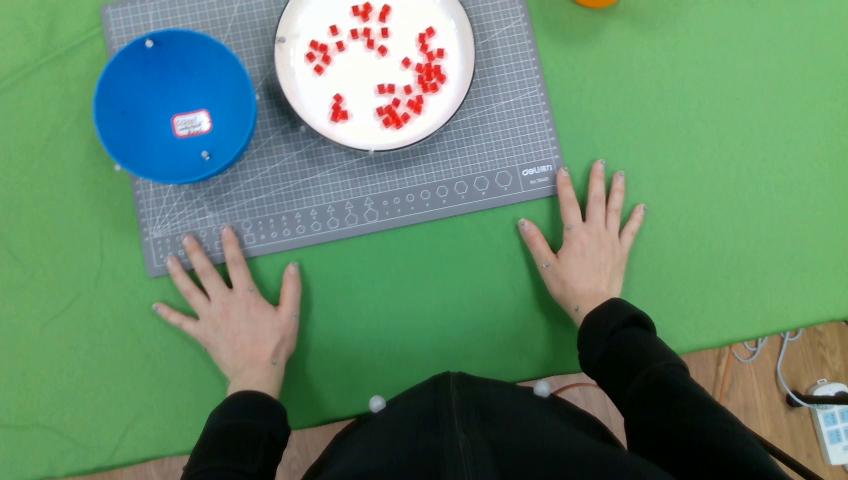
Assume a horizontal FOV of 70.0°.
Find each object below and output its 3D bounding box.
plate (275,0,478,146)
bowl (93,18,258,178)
[{"bbox_3d":[-0.048,-0.198,0.634,0.209,0.038,0.208,0,85,-2],"label":"plate"},{"bbox_3d":[-0.233,-0.129,0.601,0.151,0.077,0.151,0,86,-2],"label":"bowl"}]
